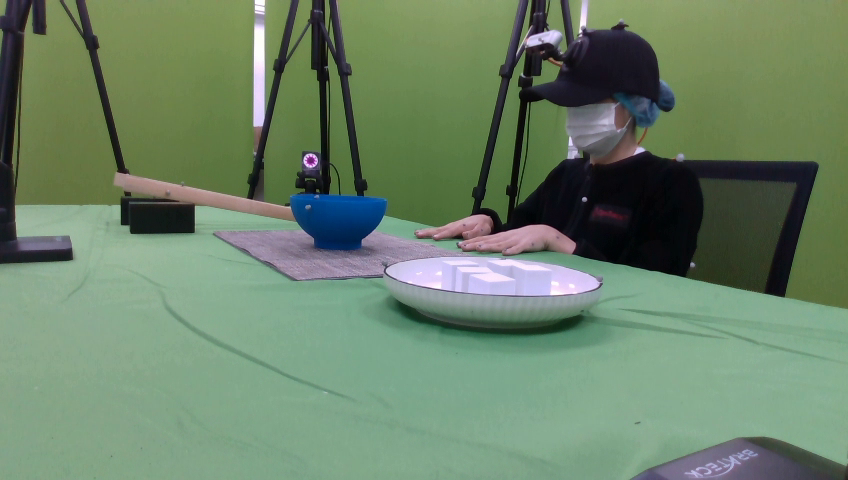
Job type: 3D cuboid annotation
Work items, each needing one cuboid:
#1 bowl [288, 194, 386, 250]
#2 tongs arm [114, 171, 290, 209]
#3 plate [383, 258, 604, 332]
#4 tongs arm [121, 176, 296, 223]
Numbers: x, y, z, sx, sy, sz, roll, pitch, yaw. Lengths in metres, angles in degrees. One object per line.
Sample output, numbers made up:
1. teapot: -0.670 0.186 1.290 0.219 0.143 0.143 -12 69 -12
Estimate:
1. bowl: -0.135 -0.027 0.936 0.151 0.077 0.151 3 7 0
2. tongs arm: -0.394 -0.078 1.183 0.387 0.026 0.050 12 0 -27
3. plate: 0.064 0.051 0.582 0.209 0.038 0.209 3 7 0
4. tongs arm: -0.348 -0.065 1.108 0.390 0.027 0.028 11 -3 -42
